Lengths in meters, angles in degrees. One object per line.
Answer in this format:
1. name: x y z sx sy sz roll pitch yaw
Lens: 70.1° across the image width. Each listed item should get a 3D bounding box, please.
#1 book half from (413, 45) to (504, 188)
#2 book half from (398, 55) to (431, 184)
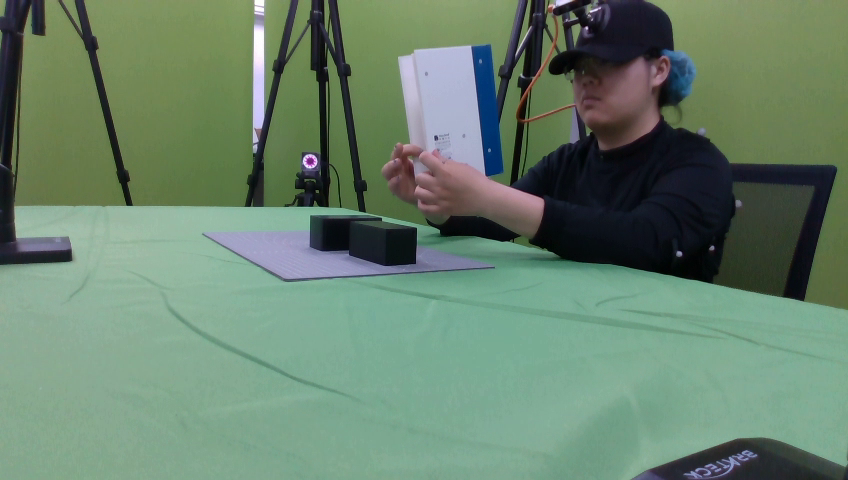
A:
1. book half: 0.058 -0.199 0.968 0.149 0.210 0.016 -15 15 -31
2. book half: 0.042 -0.206 1.007 0.143 0.210 0.007 -8 13 -2
